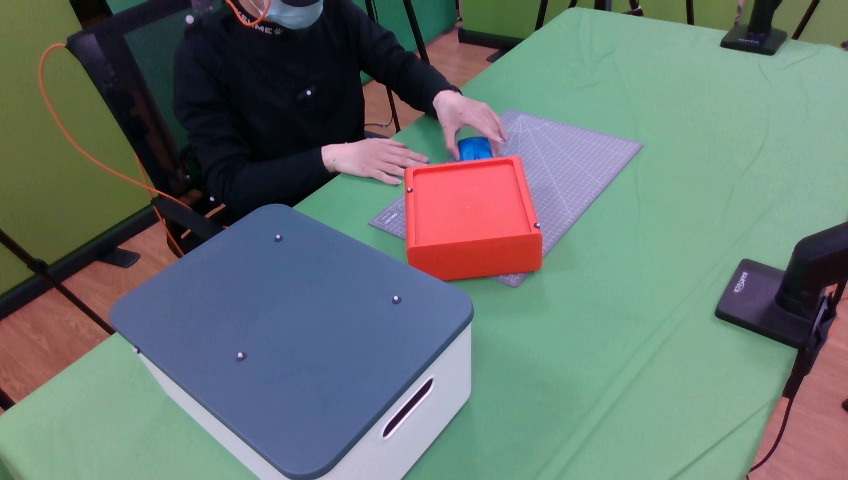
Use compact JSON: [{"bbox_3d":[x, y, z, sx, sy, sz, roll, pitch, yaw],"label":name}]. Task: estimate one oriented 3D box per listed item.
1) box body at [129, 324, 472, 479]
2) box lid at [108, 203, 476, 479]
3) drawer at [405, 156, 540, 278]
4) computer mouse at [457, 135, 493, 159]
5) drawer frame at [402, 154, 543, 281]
[{"bbox_3d":[-0.147,0.136,0.726,0.361,0.161,0.255,24,50,32],"label":"box body"},{"bbox_3d":[-0.156,0.079,0.678,0.368,0.015,0.264,24,49,32],"label":"box lid"},{"bbox_3d":[0.071,-0.040,0.961,0.194,0.073,0.210,-5,41,1],"label":"drawer"},{"bbox_3d":[0.096,-0.158,1.128,0.063,0.041,0.116,-5,45,0],"label":"computer mouse"},{"bbox_3d":[0.071,-0.041,0.958,0.202,0.083,0.212,-6,41,1],"label":"drawer frame"}]
